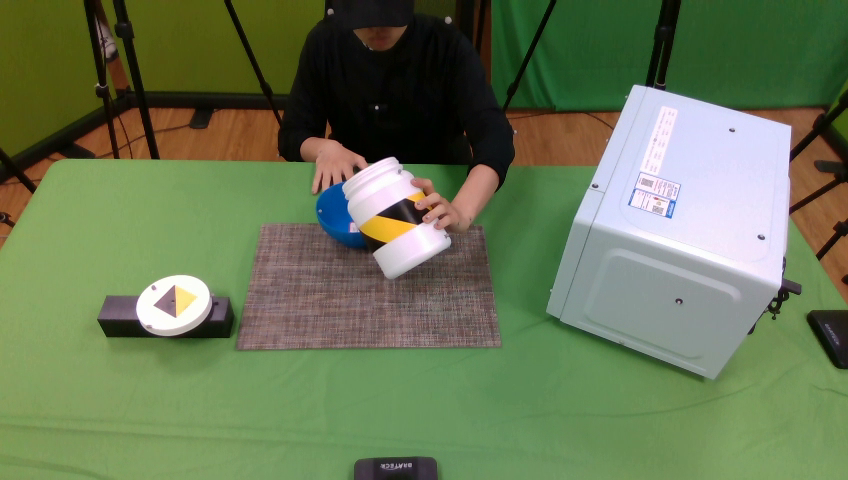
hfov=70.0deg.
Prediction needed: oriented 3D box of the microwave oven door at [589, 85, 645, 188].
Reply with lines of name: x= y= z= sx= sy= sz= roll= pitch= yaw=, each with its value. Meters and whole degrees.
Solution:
microwave oven door: x=0.341 y=-0.107 z=1.149 sx=0.039 sy=0.245 sz=0.354 roll=20 pitch=48 yaw=15

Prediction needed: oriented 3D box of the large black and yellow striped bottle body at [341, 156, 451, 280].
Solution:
large black and yellow striped bottle body: x=-0.052 y=-0.039 z=1.046 sx=0.131 sy=0.131 sz=0.184 roll=-29 pitch=88 yaw=-28

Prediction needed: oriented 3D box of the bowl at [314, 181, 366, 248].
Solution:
bowl: x=-0.135 y=-0.039 z=1.181 sx=0.151 sy=0.077 sz=0.150 roll=3 pitch=46 yaw=-2

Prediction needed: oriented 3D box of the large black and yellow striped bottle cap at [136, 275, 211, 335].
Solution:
large black and yellow striped bottle cap: x=-0.412 y=0.105 z=0.999 sx=0.115 sy=0.019 sz=0.114 roll=3 pitch=46 yaw=-3

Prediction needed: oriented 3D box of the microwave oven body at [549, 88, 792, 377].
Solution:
microwave oven body: x=0.456 y=-0.028 z=1.088 sx=0.325 sy=0.261 sz=0.440 roll=20 pitch=47 yaw=16

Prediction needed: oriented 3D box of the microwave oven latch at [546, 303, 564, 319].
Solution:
microwave oven latch: x=0.242 y=0.102 z=1.081 sx=0.030 sy=0.029 sz=0.079 roll=21 pitch=48 yaw=17
